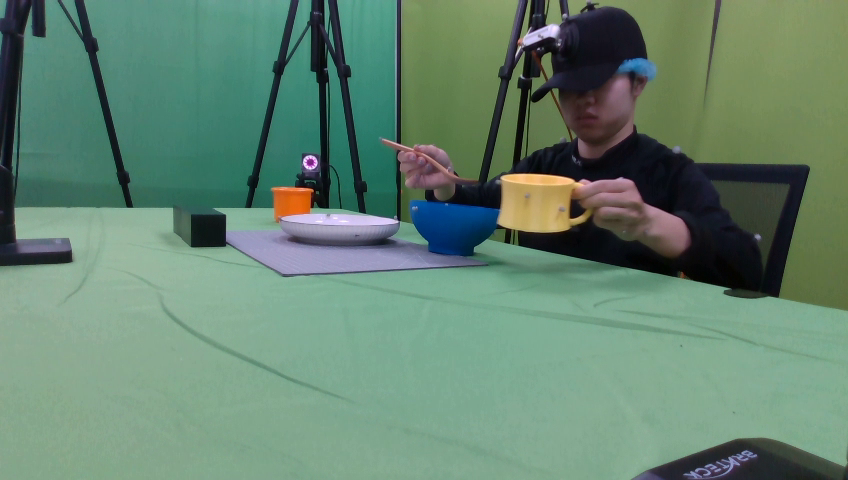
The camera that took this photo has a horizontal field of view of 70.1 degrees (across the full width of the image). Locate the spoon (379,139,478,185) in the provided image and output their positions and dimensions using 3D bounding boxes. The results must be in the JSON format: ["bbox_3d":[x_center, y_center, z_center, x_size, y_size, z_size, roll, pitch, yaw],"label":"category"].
[{"bbox_3d":[0.005,-0.134,1.023,0.193,0.021,0.042,31,12,19],"label":"spoon"}]

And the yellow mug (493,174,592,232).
[{"bbox_3d":[0.162,-0.051,0.821,0.131,0.064,0.100,3,13,1],"label":"yellow mug"}]

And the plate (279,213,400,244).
[{"bbox_3d":[-0.147,-0.020,1.060,0.209,0.038,0.209,3,7,0],"label":"plate"}]

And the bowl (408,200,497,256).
[{"bbox_3d":[0.045,-0.018,0.968,0.151,0.077,0.151,6,5,0],"label":"bowl"}]
